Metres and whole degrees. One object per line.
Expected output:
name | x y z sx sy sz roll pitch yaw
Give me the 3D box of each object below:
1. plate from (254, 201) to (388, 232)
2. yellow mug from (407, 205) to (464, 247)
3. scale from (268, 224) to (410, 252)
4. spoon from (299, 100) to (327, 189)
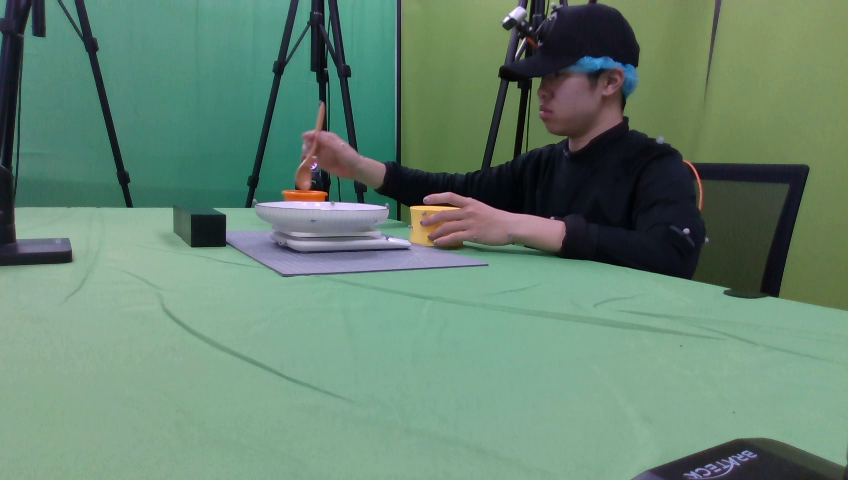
plate | -0.161 -0.038 0.961 0.209 0.038 0.209 2 6 0
yellow mug | 0.026 -0.027 1.104 0.099 0.064 0.131 7 7 20
scale | -0.137 -0.006 0.979 0.202 0.031 0.148 -1 8 -30
spoon | -0.223 -0.198 1.246 0.021 0.193 0.042 7 -11 35
